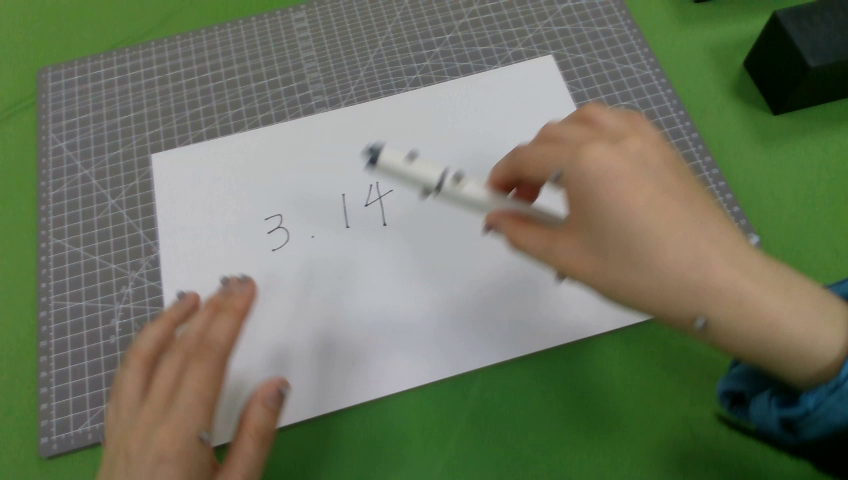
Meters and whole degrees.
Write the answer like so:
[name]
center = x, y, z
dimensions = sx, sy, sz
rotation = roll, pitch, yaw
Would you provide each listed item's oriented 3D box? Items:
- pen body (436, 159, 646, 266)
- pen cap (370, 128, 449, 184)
[pen body]
center = 0.051, -0.018, 0.316
dimensions = 0.144, 0.017, 0.017
rotation = 22, 67, -10
[pen cap]
center = -0.008, -0.042, 0.303
dimensions = 0.038, 0.017, 0.017
rotation = 24, 67, -11
